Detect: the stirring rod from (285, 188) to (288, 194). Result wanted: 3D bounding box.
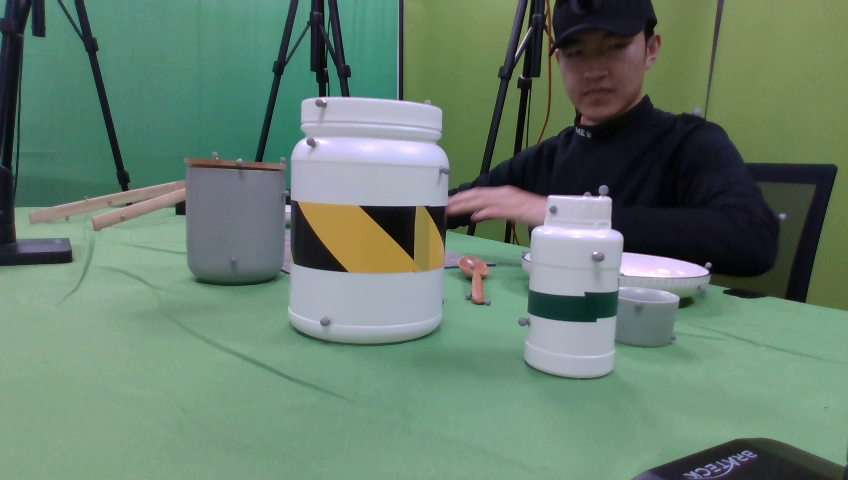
[{"bbox_3d":[-0.354,-0.122,1.519,0.006,0.014,0.176,2,6,1],"label":"stirring rod"}]

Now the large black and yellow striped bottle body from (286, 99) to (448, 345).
[{"bbox_3d":[-0.047,-0.018,0.501,0.131,0.184,0.130,2,7,0],"label":"large black and yellow striped bottle body"}]

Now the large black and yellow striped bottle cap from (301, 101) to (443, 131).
[{"bbox_3d":[-0.042,-0.100,0.491,0.115,0.019,0.115,1,8,0],"label":"large black and yellow striped bottle cap"}]

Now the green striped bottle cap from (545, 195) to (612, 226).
[{"bbox_3d":[0.106,-0.020,0.414,0.044,0.020,0.044,2,4,0],"label":"green striped bottle cap"}]

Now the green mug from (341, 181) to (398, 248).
[{"bbox_3d":[-0.089,-0.044,0.997,0.093,0.105,0.125,1,7,-8],"label":"green mug"}]

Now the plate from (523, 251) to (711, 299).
[{"bbox_3d":[0.219,0.041,0.706,0.209,0.038,0.209,2,7,0],"label":"plate"}]

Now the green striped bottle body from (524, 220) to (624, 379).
[{"bbox_3d":[0.104,0.031,0.422,0.063,0.119,0.063,2,8,0],"label":"green striped bottle body"}]

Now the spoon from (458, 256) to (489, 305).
[{"bbox_3d":[0.059,0.044,0.696,0.041,0.021,0.194,21,7,0],"label":"spoon"}]

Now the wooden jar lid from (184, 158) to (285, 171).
[{"bbox_3d":[-0.210,-0.078,0.674,0.108,0.020,0.108,4,6,0],"label":"wooden jar lid"}]

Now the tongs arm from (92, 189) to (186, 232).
[{"bbox_3d":[-0.534,-0.076,1.221,0.028,0.028,0.388,-2,15,12],"label":"tongs arm"}]

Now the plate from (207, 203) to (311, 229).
[{"bbox_3d":[-0.342,-0.050,1.259,0.208,0.039,0.207,2,7,0],"label":"plate"}]

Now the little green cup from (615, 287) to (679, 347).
[{"bbox_3d":[0.180,0.064,0.506,0.061,0.038,0.061,2,8,0],"label":"little green cup"}]

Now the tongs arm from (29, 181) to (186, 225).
[{"bbox_3d":[-0.609,-0.083,1.245,0.050,0.026,0.386,5,16,23],"label":"tongs arm"}]

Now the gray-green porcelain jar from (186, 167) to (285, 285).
[{"bbox_3d":[-0.212,-0.017,0.682,0.106,0.126,0.106,2,7,0],"label":"gray-green porcelain jar"}]
